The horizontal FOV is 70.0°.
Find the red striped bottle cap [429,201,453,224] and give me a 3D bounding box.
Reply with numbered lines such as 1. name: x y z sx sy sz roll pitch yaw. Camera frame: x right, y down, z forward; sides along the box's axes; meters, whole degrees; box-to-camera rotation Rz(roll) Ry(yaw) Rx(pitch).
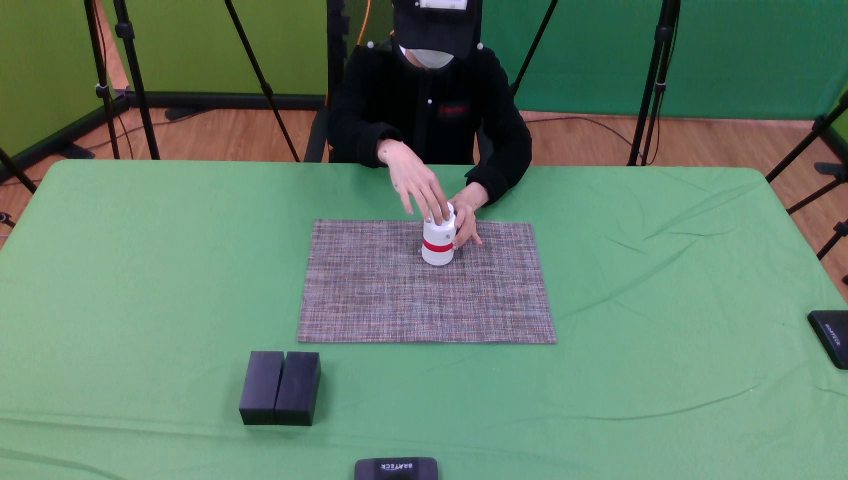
1. red striped bottle cap: 0.031 -0.051 1.098 0.044 0.018 0.044 1 47 -1

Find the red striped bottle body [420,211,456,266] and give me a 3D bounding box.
1. red striped bottle body: 0.027 -0.012 1.139 0.063 0.120 0.062 3 45 -2
